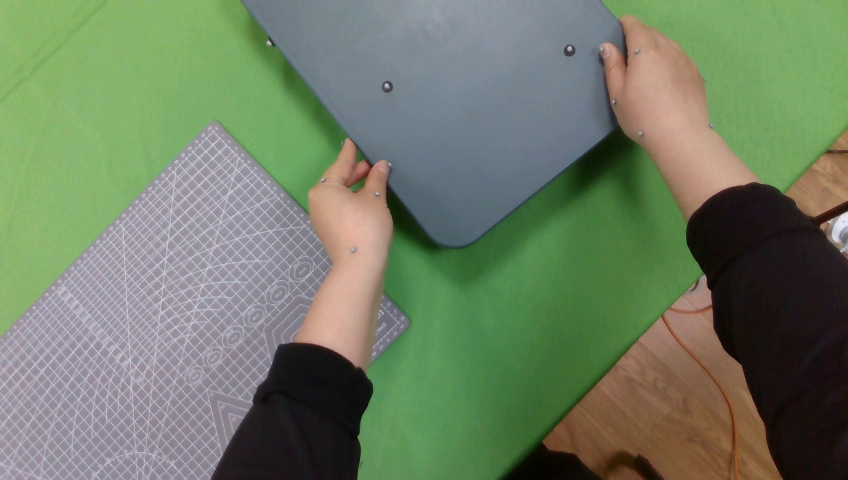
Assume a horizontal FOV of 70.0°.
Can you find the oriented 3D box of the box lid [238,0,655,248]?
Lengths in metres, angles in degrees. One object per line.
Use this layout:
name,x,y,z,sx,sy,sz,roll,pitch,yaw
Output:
box lid,0.009,-0.205,0.578,0.263,0.015,0.370,-39,84,1
